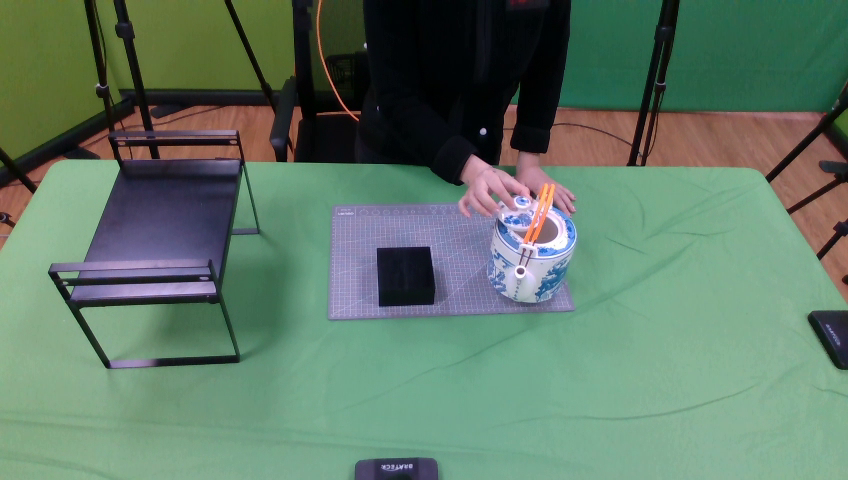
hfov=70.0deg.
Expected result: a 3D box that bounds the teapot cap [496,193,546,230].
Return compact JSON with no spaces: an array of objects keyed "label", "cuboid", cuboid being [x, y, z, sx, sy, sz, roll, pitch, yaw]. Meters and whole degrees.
[{"label":"teapot cap","cuboid":[0.166,-0.053,1.030,0.085,0.044,0.084,1,50,-1]}]

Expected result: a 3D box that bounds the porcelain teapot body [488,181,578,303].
[{"label":"porcelain teapot body","cuboid":[0.186,0.018,1.048,0.145,0.226,0.204,15,48,11]}]
